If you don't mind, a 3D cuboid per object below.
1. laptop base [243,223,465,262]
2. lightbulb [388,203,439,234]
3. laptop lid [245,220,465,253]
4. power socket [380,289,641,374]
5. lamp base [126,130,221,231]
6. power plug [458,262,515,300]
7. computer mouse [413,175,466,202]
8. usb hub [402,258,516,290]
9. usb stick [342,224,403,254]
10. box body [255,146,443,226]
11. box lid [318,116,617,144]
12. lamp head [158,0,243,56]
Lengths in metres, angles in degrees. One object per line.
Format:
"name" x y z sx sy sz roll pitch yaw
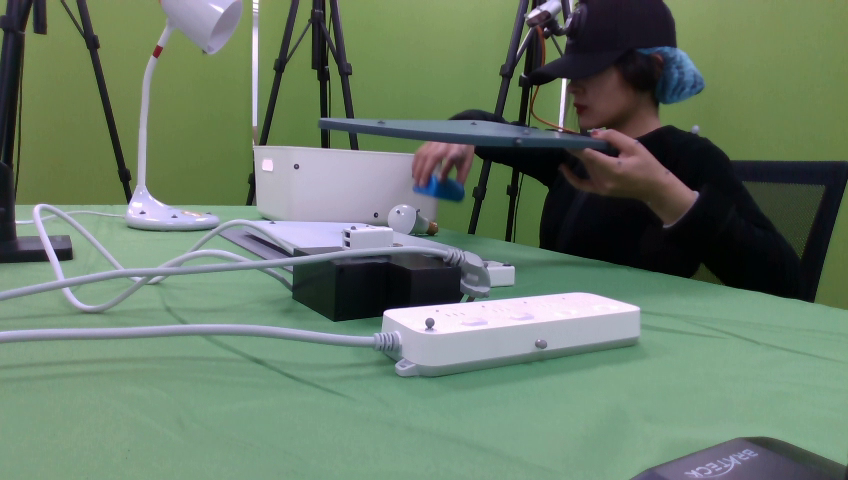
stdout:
"laptop base" -0.126 0.003 0.945 0.237 0.023 0.352 2 6 -31
"lightbulb" -0.018 -0.034 1.161 0.108 0.059 0.059 16 0 -27
"laptop lid" -0.124 -0.009 0.945 0.243 0.013 0.355 1 7 -29
"power socket" 0.072 0.064 0.461 0.228 0.032 0.072 -2 8 -30
"lamp base" -0.469 -0.112 1.108 0.179 0.180 0.160 0 7 3
"power plug" 0.054 0.051 0.543 0.035 0.052 0.072 2 37 -19
"computer mouse" 0.026 -0.092 1.067 0.063 0.041 0.116 9 0 -22
"usb hub" 0.042 0.038 0.690 0.126 0.025 0.049 -2 10 -30
"usb stick" -0.047 -0.001 0.567 0.059 0.027 0.021 0 4 -33
"box body" -0.169 -0.121 1.343 0.366 0.160 0.253 -2 8 -31
"box lid" 0.070 -0.149 0.818 0.262 0.015 0.373 15 17 39
"lamp head" -0.399 -0.397 1.057 0.123 0.112 0.112 27 5 -7
